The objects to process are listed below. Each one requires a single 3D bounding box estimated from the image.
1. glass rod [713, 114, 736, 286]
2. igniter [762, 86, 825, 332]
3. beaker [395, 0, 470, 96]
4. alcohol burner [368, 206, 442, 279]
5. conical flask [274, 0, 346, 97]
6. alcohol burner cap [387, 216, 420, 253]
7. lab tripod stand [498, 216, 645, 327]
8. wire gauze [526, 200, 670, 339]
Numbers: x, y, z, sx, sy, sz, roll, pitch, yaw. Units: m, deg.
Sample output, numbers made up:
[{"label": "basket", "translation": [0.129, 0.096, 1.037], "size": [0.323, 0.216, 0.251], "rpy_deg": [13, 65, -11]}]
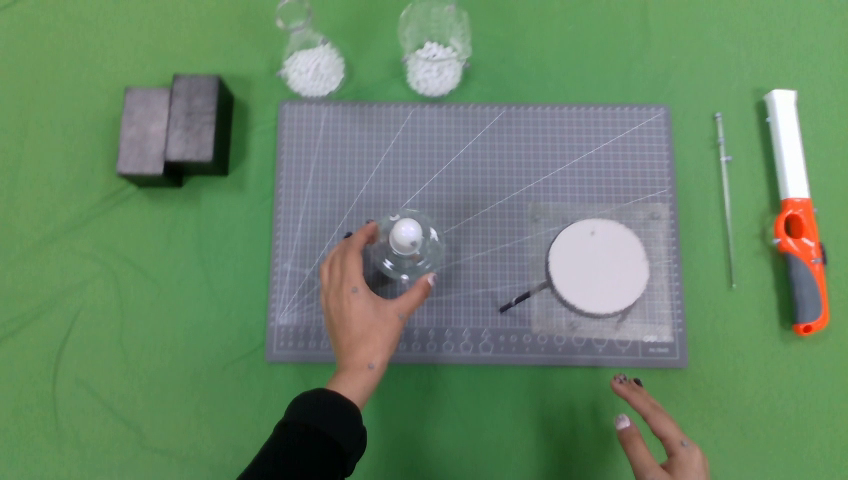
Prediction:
[{"label": "glass rod", "translation": [0.337, -0.047, 0.679], "size": [0.008, 0.008, 0.199], "rpy_deg": [0, 79, -1]}, {"label": "igniter", "translation": [0.407, -0.037, 0.669], "size": [0.057, 0.025, 0.275], "rpy_deg": [1, 80, -11]}, {"label": "beaker", "translation": [0.012, -0.207, 0.662], "size": [0.084, 0.100, 0.074], "rpy_deg": [36, 81, 6]}, {"label": "alcohol burner", "translation": [-0.020, 0.000, 0.613], "size": [0.078, 0.119, 0.077], "rpy_deg": [0, 81, -1]}, {"label": "conical flask", "translation": [-0.128, -0.211, 0.650], "size": [0.075, 0.122, 0.075], "rpy_deg": [0, 79, 0]}, {"label": "alcohol burner cap", "translation": [-0.018, -0.007, 0.577], "size": [0.034, 0.048, 0.033], "rpy_deg": [1, 80, -7]}, {"label": "lab tripod stand", "translation": [0.148, 0.038, 0.597], "size": [0.148, 0.132, 0.148], "rpy_deg": [0, 81, 0]}, {"label": "wire gauze", "translation": [0.152, 0.024, 0.531], "size": [0.125, 0.011, 0.121], "rpy_deg": [2, 80, 1]}]
